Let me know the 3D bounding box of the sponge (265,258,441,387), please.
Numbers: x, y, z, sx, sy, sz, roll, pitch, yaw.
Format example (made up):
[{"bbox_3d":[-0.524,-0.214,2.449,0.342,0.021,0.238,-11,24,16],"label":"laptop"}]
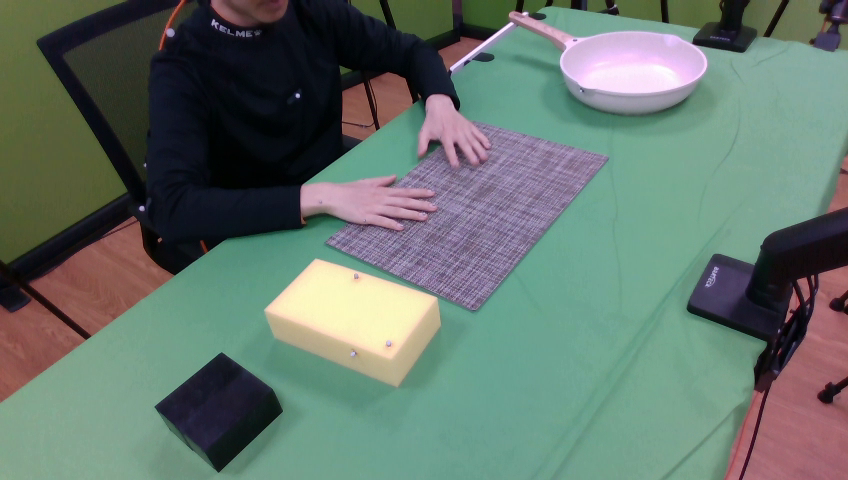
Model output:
[{"bbox_3d":[-0.096,0.107,0.830,0.205,0.061,0.118,16,46,25],"label":"sponge"}]

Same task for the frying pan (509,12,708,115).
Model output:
[{"bbox_3d":[0.369,-0.409,1.328,0.308,0.103,0.484,-31,54,-26],"label":"frying pan"}]
